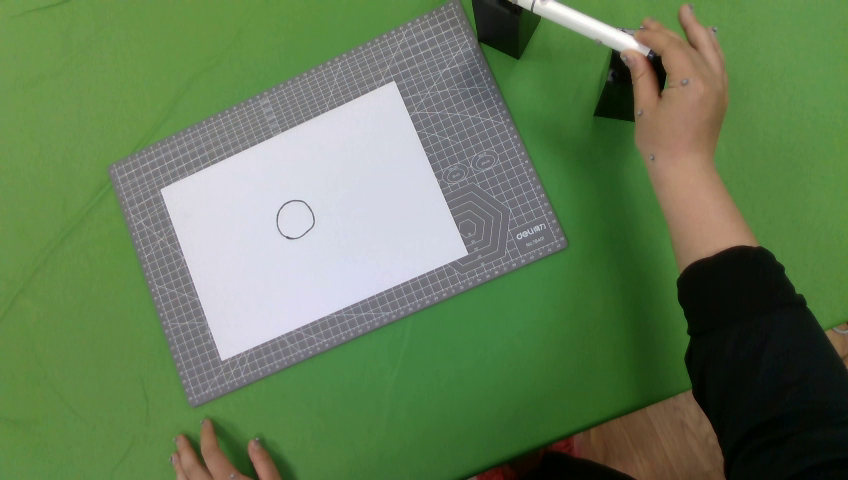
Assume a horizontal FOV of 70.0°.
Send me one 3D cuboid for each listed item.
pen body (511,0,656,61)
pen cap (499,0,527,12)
[{"bbox_3d":[0.134,-0.192,0.536,0.143,0.017,0.017,27,89,10],"label":"pen body"},{"bbox_3d":[0.081,-0.222,0.550,0.038,0.017,0.017,28,90,15],"label":"pen cap"}]
